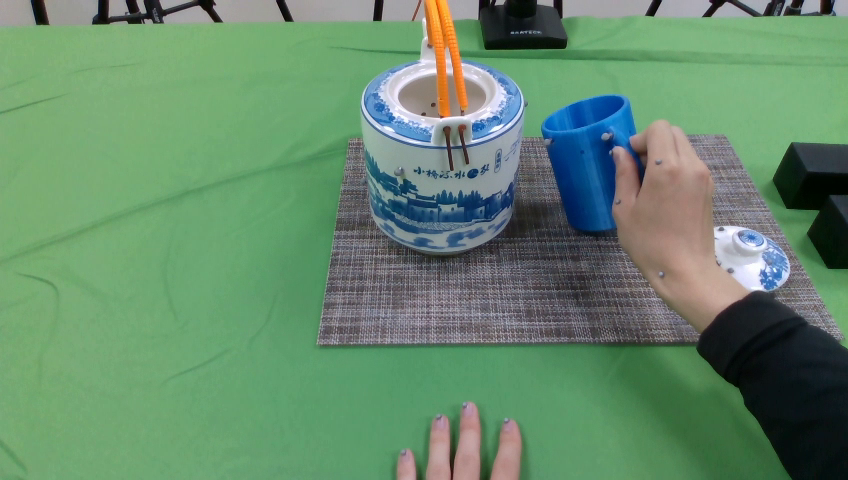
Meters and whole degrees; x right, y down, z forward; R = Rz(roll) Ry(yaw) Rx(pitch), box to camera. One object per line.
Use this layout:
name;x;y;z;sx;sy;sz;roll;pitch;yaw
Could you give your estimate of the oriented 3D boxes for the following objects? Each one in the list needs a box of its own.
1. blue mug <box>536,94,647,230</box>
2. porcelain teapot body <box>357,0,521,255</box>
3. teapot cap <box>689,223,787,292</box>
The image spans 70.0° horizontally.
blue mug;0.167;-0.069;0.569;0.082;0.107;0.115;-26;26;-7
porcelain teapot body;0.009;-0.124;0.566;0.145;0.227;0.203;-6;45;-5
teapot cap;0.290;0.010;0.557;0.085;0.044;0.084;1;44;0
